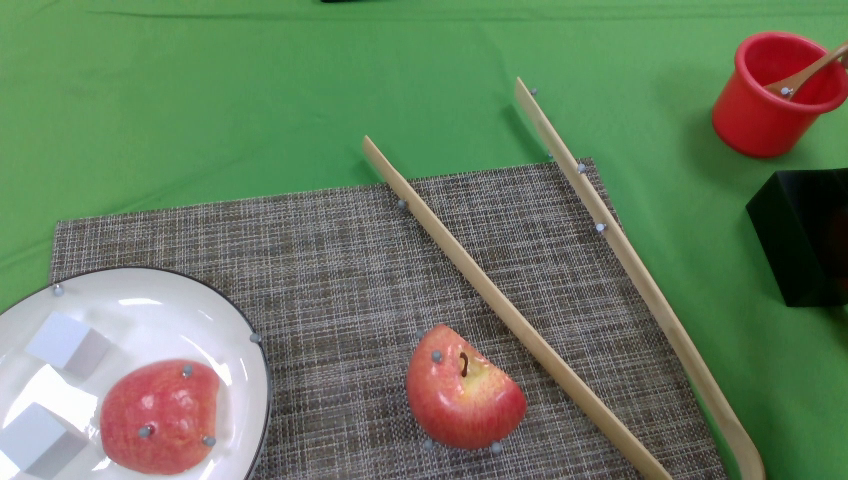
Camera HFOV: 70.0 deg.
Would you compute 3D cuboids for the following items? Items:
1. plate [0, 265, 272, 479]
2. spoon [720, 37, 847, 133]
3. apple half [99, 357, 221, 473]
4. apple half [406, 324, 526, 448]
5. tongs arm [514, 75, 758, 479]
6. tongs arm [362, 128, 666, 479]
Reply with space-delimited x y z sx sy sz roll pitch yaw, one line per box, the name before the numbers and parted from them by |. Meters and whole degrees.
plate | -0.200 0.114 0.384 0.209 0.038 0.207 2 58 -3
spoon | 0.352 -0.157 0.525 0.022 0.194 0.041 18 45 -44
apple half | -0.170 0.107 0.385 0.081 0.033 0.080 4 58 -6
apple half | 0.019 0.101 0.388 0.080 0.075 0.053 40 68 15
tongs arm | 0.140 0.015 0.473 0.051 0.027 0.381 -18 63 -16
tongs arm | 0.066 0.046 0.450 0.028 0.028 0.384 -30 66 -25
